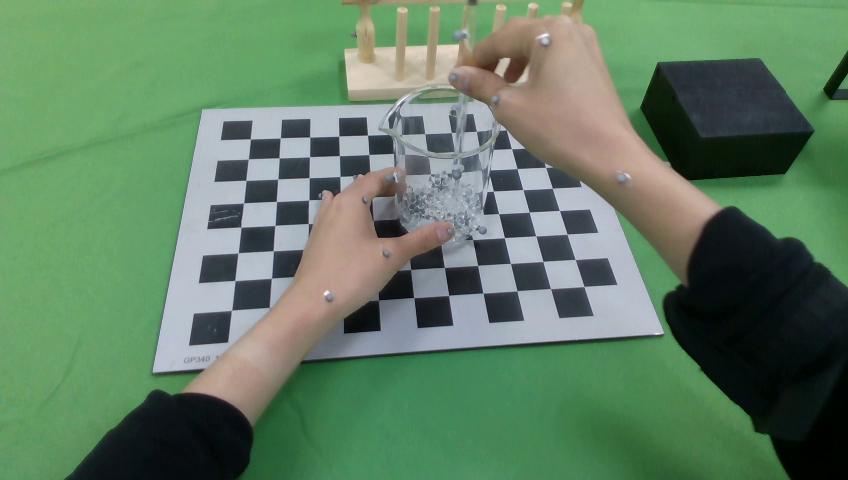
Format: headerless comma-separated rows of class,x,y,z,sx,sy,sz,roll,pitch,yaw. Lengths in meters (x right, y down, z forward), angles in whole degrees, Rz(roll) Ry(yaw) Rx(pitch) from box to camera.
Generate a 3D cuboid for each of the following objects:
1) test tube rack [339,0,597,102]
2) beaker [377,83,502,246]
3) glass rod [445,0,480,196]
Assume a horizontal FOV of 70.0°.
test tube rack,0.045,-0.190,0.568,0.243,0.086,0.066,-5,51,-7
beaker,0.009,-0.050,0.440,0.084,0.101,0.073,-2,51,-4
glass rod,0.024,-0.093,0.400,0.008,0.201,0.008,2,56,-2
